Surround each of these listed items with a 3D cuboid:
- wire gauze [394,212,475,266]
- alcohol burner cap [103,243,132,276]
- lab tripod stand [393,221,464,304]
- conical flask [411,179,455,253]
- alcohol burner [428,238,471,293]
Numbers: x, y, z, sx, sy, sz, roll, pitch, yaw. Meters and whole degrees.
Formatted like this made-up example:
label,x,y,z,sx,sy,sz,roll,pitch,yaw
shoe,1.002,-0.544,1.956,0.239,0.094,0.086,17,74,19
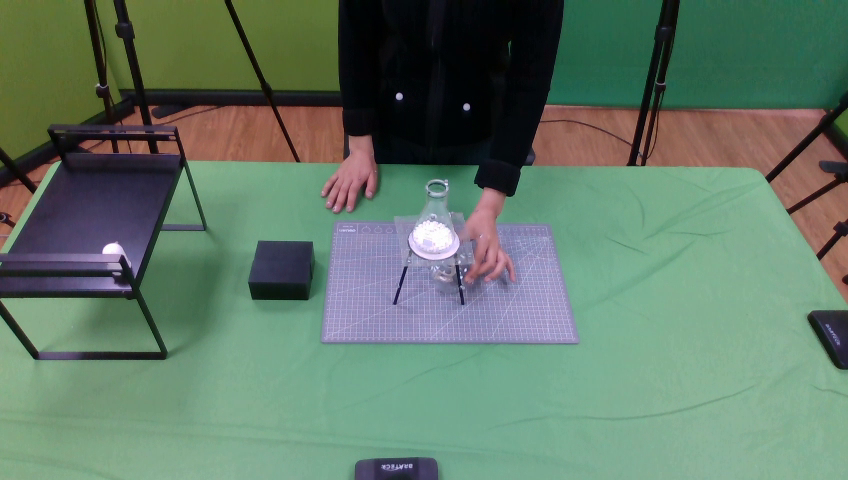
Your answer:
label,x,y,z,sx,sy,sz,roll,pitch,yaw
wire gauze,0.015,-0.001,1.029,0.125,0.011,0.120,-5,45,-5
alcohol burner cap,-0.446,0.025,0.875,0.034,0.048,0.033,3,46,-3
lab tripod stand,0.010,0.046,1.074,0.148,0.132,0.147,2,48,-2
conical flask,0.018,-0.042,0.985,0.075,0.122,0.075,2,47,-1
alcohol burner,0.046,0.040,1.092,0.078,0.120,0.077,0,48,0
